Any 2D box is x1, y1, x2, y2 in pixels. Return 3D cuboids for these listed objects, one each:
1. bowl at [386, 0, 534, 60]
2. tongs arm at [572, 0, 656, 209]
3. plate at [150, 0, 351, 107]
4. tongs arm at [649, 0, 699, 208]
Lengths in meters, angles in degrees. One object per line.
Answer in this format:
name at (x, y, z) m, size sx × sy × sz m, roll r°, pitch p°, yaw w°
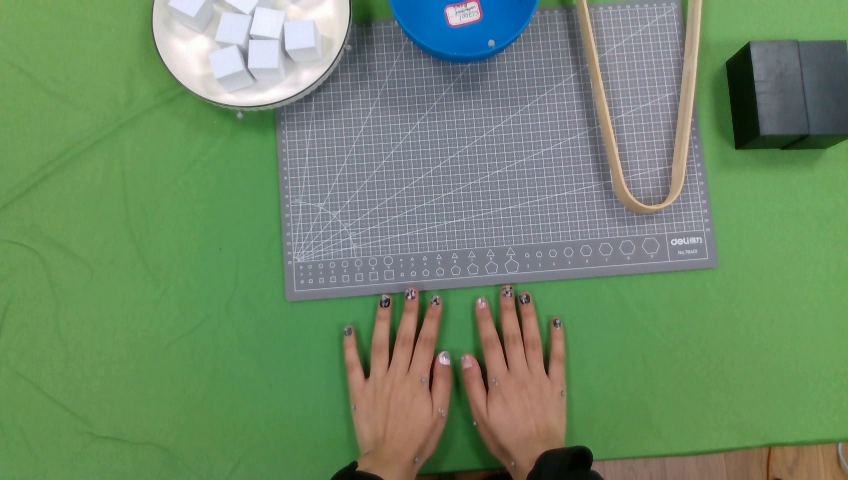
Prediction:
bowl at (0.035, -0.247, 0.624) m, size 0.151 × 0.077 × 0.151 m, roll 0°, pitch 83°, yaw -1°
tongs arm at (0.189, -0.221, 0.647) m, size 0.051 × 0.026 × 0.383 m, roll -6°, pitch 83°, yaw -5°
plate at (-0.179, -0.237, 0.642) m, size 0.208 × 0.039 × 0.207 m, roll 0°, pitch 82°, yaw 1°
tongs arm at (0.276, -0.222, 0.650) m, size 0.028 × 0.028 × 0.386 m, roll 9°, pitch 83°, yaw -6°
